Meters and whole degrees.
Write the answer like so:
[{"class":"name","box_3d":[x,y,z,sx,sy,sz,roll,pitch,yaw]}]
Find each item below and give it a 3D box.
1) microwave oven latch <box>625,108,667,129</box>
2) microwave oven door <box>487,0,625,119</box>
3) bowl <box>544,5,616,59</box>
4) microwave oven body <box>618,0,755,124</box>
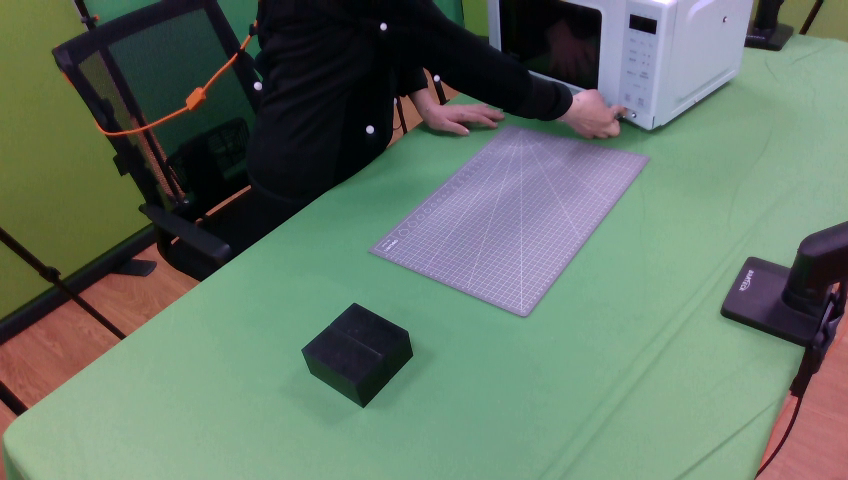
[{"class":"microwave oven latch","box_3d":[0.418,-0.238,1.147,0.030,0.029,0.078,-25,42,-16]},{"class":"microwave oven door","box_3d":[0.262,-0.409,1.221,0.039,0.245,0.352,-33,45,-25]},{"class":"bowl","box_3d":[0.332,-0.441,1.302,0.151,0.077,0.150,-3,40,3]},{"class":"microwave oven body","box_3d":[0.402,-0.458,1.260,0.327,0.261,0.437,-33,45,-24]}]
